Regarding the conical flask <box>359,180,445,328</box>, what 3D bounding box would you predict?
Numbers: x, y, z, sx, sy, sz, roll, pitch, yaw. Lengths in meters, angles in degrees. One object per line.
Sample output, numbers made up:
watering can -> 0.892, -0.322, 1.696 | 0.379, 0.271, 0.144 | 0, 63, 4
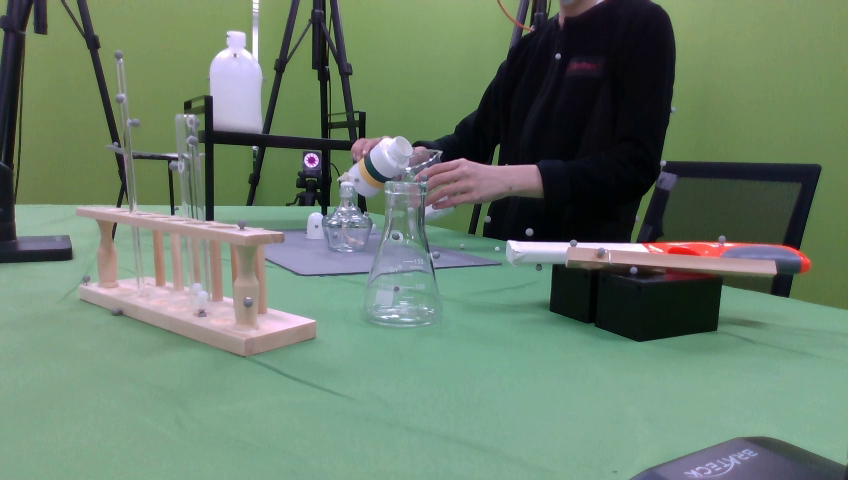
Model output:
conical flask -> -0.017, 0.010, 0.522 | 0.075, 0.122, 0.075 | 2, 7, 0

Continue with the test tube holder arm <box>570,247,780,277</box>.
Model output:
test tube holder arm -> 0.217, 0.019, 0.525 | 0.178, 0.015, 0.013 | 3, -23, 3

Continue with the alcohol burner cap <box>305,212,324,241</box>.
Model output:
alcohol burner cap -> -0.185, -0.023, 1.027 | 0.034, 0.048, 0.034 | 2, 7, 0

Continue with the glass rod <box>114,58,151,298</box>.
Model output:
glass rod -> -0.236, -0.044, 0.492 | 0.008, 0.199, 0.008 | 0, 15, 0

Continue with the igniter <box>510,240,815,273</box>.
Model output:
igniter -> 0.220, 0.015, 0.565 | 0.277, 0.025, 0.057 | 2, 16, 0

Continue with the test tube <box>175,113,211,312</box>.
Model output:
test tube -> -0.174, -0.020, 0.458 | 0.017, 0.150, 0.017 | -3, 5, 1

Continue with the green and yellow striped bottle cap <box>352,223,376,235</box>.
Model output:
green and yellow striped bottle cap -> -0.113, -0.021, 1.140 | 0.045, 0.020, 0.045 | 3, 6, 0

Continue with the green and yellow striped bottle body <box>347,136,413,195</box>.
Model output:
green and yellow striped bottle body -> -0.071, -0.129, 1.027 | 0.119, 0.063, 0.063 | -31, -15, 37

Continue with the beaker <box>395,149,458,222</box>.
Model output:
beaker -> 0.009, -0.087, 0.969 | 0.084, 0.100, 0.074 | -23, -8, 22

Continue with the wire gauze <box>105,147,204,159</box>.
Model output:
wire gauze -> -0.407, -0.131, 0.928 | 0.125, 0.011, 0.121 | 2, 6, -11

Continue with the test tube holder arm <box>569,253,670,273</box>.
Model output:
test tube holder arm -> 0.172, 0.019, 0.532 | 0.088, 0.015, 0.010 | 3, -23, 3

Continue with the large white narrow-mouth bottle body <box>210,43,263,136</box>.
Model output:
large white narrow-mouth bottle body -> -0.369, -0.305, 1.194 | 0.102, 0.194, 0.102 | 3, 8, 0

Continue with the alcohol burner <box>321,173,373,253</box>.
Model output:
alcohol burner -> -0.115, -0.041, 0.905 | 0.078, 0.119, 0.078 | 0, 6, 0

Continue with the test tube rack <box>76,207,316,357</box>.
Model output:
test tube rack -> -0.196, 0.023, 0.499 | 0.241, 0.085, 0.067 | 8, 9, 36

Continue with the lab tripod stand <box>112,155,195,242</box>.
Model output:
lab tripod stand -> -0.405, -0.064, 0.931 | 0.148, 0.131, 0.148 | 1, 6, 0

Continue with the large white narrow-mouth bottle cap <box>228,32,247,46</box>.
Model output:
large white narrow-mouth bottle cap -> -0.364, -0.391, 1.180 | 0.038, 0.024, 0.037 | 3, 8, 0
